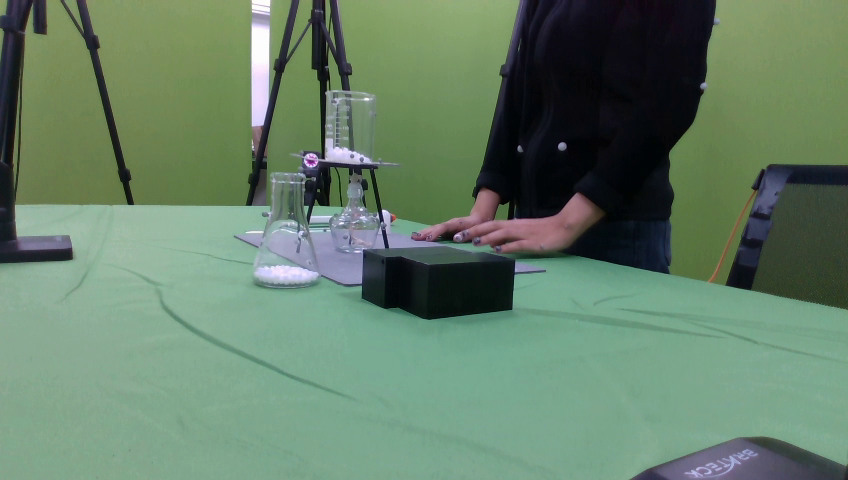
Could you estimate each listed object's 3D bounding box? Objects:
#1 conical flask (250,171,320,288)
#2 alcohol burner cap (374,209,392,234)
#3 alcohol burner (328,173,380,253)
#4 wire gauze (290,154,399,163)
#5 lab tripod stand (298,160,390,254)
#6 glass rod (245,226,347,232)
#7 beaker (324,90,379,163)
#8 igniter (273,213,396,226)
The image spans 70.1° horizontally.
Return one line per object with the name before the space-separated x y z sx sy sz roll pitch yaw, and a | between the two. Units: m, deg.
conical flask | -0.150 -0.013 0.658 0.075 0.122 0.075 2 7 0
alcohol burner cap | -0.078 -0.036 1.148 0.034 0.048 0.034 2 7 0
alcohol burner | -0.104 -0.041 0.902 0.078 0.119 0.078 0 7 0
wire gauze | -0.112 -0.114 0.883 0.124 0.011 0.122 5 5 28
lab tripod stand | -0.111 -0.050 0.893 0.148 0.131 0.148 4 6 0
glass rod | -0.236 -0.021 1.140 0.201 0.008 0.008 -2 8 -33
beaker | -0.110 -0.162 0.879 0.083 0.100 0.074 8 7 36
igniter | -0.179 -0.044 1.258 0.278 0.025 0.057 -3 -1 -39
